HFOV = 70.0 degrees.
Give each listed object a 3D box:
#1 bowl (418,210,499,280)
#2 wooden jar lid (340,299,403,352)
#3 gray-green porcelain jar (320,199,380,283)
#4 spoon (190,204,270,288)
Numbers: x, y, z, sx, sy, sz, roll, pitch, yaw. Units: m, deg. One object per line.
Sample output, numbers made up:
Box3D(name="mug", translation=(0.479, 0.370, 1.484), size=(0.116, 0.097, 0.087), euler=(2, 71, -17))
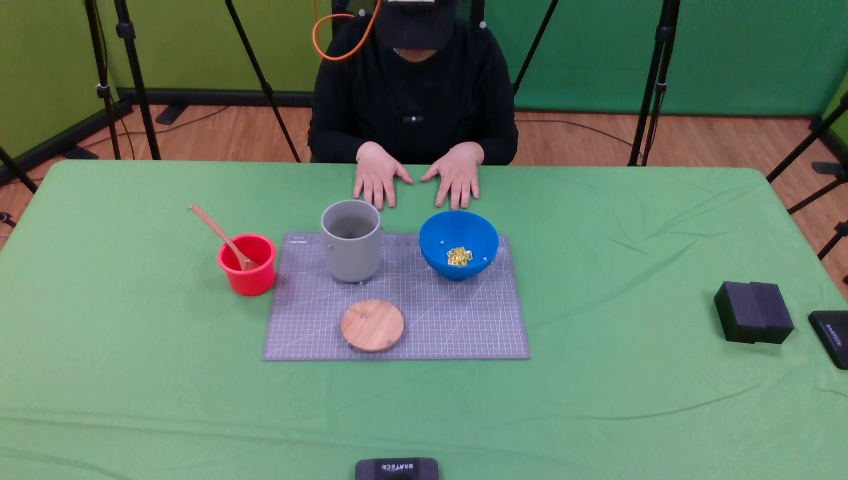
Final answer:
Box3D(name="bowl", translation=(0.062, 0.022, 1.141), size=(0.151, 0.077, 0.150), euler=(2, 46, -2))
Box3D(name="wooden jar lid", translation=(-0.090, 0.150, 1.046), size=(0.108, 0.021, 0.107), euler=(3, 47, -3))
Box3D(name="gray-green porcelain jar", translation=(-0.133, 0.007, 1.106), size=(0.106, 0.127, 0.105), euler=(2, 46, -2))
Box3D(name="spoon", translation=(-0.345, 0.009, 1.079), size=(0.194, 0.021, 0.041), euler=(54, 51, -15))
